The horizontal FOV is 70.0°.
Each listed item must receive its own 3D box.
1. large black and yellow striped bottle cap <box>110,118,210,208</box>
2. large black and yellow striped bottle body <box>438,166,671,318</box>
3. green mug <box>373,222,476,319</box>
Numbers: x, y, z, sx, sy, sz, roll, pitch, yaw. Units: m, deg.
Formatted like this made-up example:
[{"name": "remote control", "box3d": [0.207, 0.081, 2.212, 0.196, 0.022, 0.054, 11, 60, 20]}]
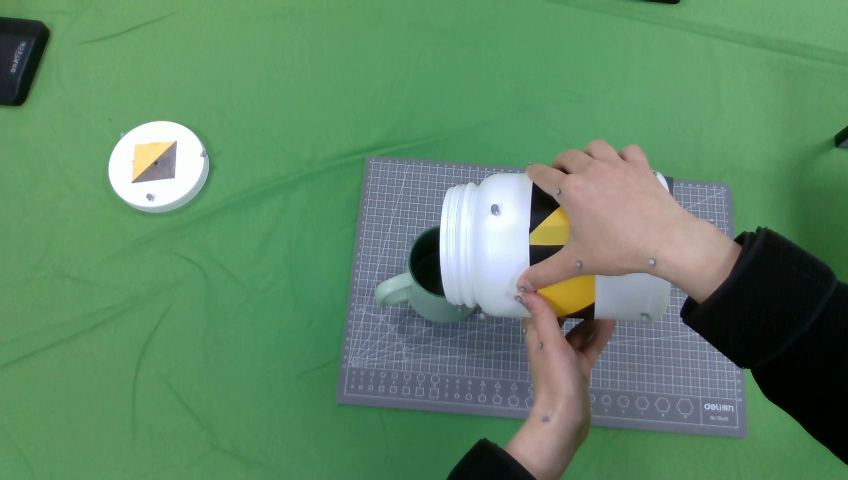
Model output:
[{"name": "large black and yellow striped bottle cap", "box3d": [-0.320, -0.095, 0.734, 0.115, 0.019, 0.114, 0, 72, -1]}, {"name": "large black and yellow striped bottle body", "box3d": [0.112, 0.002, 0.535, 0.183, 0.132, 0.130, 0, 72, 13]}, {"name": "green mug", "box3d": [0.006, 0.039, 0.650, 0.125, 0.105, 0.092, -20, 74, -7]}]
